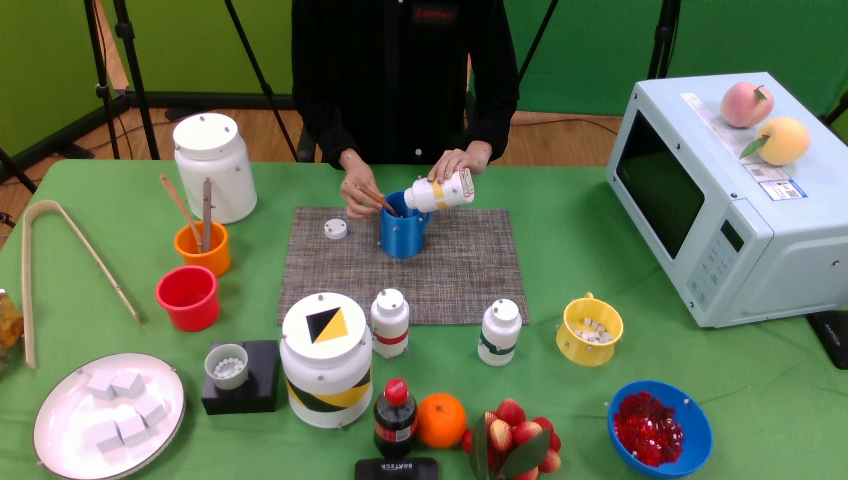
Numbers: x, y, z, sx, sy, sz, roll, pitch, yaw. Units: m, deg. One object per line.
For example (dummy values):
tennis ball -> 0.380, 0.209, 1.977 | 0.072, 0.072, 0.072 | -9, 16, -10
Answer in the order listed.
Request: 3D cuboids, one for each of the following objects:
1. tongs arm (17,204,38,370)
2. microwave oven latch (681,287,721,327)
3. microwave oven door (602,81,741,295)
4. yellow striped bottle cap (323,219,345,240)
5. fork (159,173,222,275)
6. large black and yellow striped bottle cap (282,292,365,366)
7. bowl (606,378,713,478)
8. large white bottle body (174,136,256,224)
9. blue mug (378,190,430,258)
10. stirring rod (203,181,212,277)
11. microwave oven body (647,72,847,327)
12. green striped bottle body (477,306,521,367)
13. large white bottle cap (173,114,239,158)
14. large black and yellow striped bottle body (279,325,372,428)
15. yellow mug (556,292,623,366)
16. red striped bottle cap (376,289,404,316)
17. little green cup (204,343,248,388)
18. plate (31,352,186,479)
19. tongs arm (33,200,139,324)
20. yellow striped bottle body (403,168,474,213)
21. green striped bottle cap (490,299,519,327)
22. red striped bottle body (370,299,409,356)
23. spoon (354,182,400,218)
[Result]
tongs arm -> -0.698, 0.069, 1.068 | 0.028, 0.028, 0.385 | -20, 50, -13
microwave oven latch -> 0.494, 0.119, 1.087 | 0.030, 0.029, 0.078 | -6, 46, -9
microwave oven door -> 0.456, -0.107, 1.162 | 0.039, 0.245, 0.353 | -6, 47, -11
yellow striped bottle cap -> -0.179, -0.022, 1.205 | 0.044, 0.019, 0.044 | 3, 46, -3
fork -> -0.427, -0.029, 1.103 | 0.028, 0.018, 0.207 | -31, 99, -30
large black and yellow striped bottle cap -> -0.139, 0.121, 0.841 | 0.115, 0.019, 0.114 | 3, 47, -3
bowl -> 0.340, 0.292, 0.906 | 0.151, 0.077, 0.150 | 2, 46, -2
large white bottle body -> -0.408, -0.137, 1.183 | 0.131, 0.185, 0.130 | 2, 46, -2
blue mug -> -0.033, -0.037, 1.169 | 0.116, 0.106, 0.082 | -31, 56, -28
stirring rod -> -0.396, -0.021, 1.108 | 0.014, 0.006, 0.176 | -1, 89, -1
microwave oven body -> 0.607, -0.089, 1.164 | 0.326, 0.261, 0.438 | -7, 46, -10
green striped bottle body -> 0.124, 0.151, 0.995 | 0.063, 0.120, 0.063 | 2, 46, -1
large white bottle cap -> -0.403, -0.195, 1.122 | 0.115, 0.018, 0.114 | 2, 47, -2
large black and yellow striped bottle body -> -0.143, 0.181, 0.900 | 0.131, 0.185, 0.130 | 2, 46, -2
yellow mug -> 0.285, 0.145, 1.051 | 0.100, 0.064, 0.130 | 7, 45, 3
red striped bottle cap -> -0.055, 0.098, 0.958 | 0.044, 0.018, 0.044 | 0, 48, 1
little green cup -> -0.294, 0.190, 0.909 | 0.061, 0.039, 0.061 | 1, 48, -1
plate -> -0.459, 0.262, 0.898 | 0.209, 0.038, 0.208 | 2, 46, -2
tongs arm -> -0.622, 0.034, 1.105 | 0.051, 0.026, 0.382 | -32, 56, -26
yellow striped bottle body -> 0.023, -0.086, 1.084 | 0.120, 0.063, 0.062 | -12, 40, 26
green striped bottle cap -> 0.128, 0.115, 0.958 | 0.044, 0.020, 0.044 | 2, 47, -2
red striped bottle body -> -0.058, 0.134, 0.997 | 0.063, 0.120, 0.062 | 4, 47, -4
spoon -> -0.069, -0.058, 1.123 | 0.021, 0.195, 0.041 | -25, 51, 17
